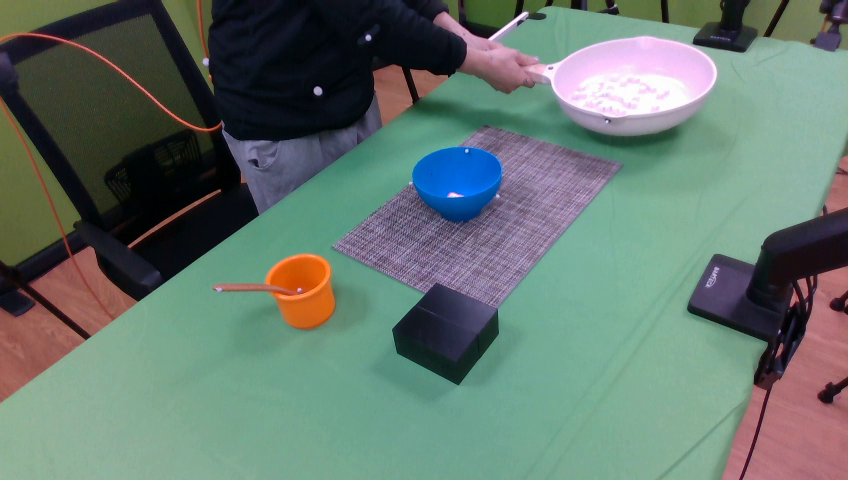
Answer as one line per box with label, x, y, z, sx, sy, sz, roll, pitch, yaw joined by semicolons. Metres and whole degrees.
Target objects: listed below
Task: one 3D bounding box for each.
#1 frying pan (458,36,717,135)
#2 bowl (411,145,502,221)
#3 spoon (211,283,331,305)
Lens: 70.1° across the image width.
frying pan;0.295;-0.317;1.171;0.485;0.103;0.307;17;48;19
bowl;0.057;-0.086;1.010;0.151;0.077;0.150;-4;41;4
spoon;-0.201;0.069;0.819;0.041;0.195;0.021;33;99;37
